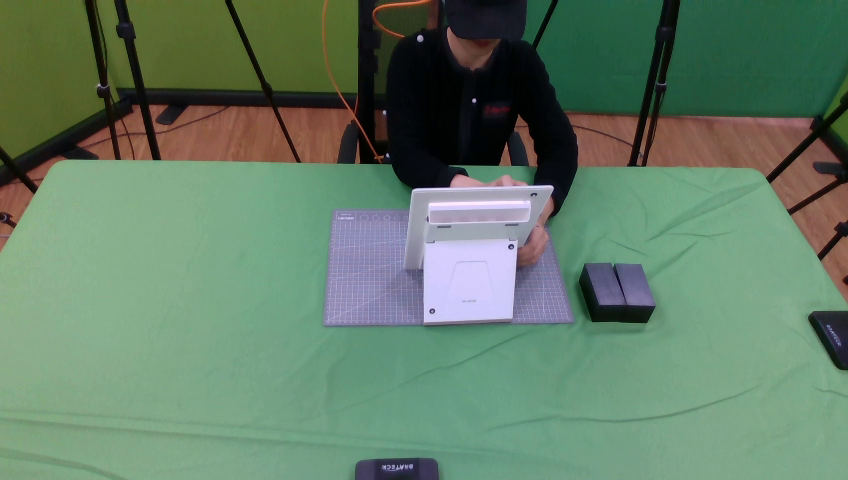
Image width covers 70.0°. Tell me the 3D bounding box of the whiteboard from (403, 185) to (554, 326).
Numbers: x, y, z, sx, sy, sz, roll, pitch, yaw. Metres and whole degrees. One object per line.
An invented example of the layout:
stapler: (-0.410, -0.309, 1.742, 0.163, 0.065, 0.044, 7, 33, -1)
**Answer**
whiteboard: (0.081, 0.044, 1.005, 0.217, 0.306, 0.143, -1, 66, -5)

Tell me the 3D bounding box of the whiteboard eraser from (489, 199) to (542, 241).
whiteboard eraser: (0.159, -0.031, 1.060, 0.056, 0.113, 0.041, 0, 67, -17)
